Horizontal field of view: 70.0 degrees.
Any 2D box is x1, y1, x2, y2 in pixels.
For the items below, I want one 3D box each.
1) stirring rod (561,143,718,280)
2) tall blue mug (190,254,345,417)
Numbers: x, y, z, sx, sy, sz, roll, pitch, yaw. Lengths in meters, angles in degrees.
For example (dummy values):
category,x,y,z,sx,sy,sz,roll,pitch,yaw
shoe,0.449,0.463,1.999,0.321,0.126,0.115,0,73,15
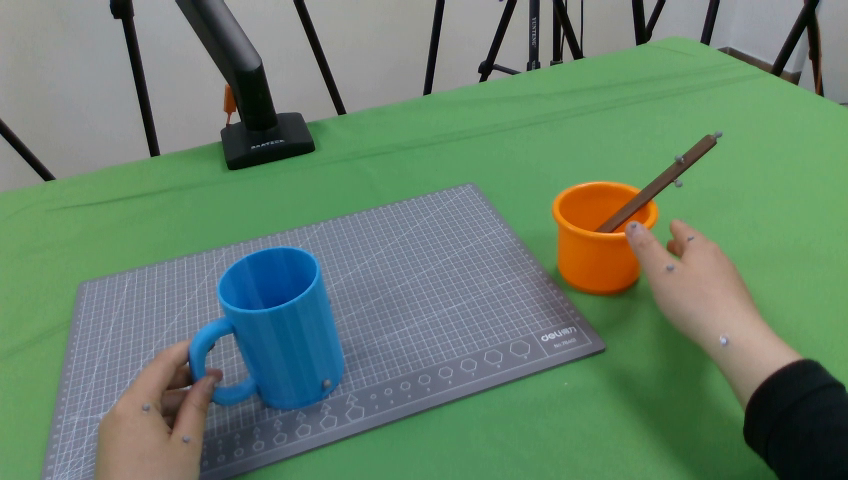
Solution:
category,x,y,z,sx,sy,sz,roll,pitch,yaw
stirring rod,0.192,-0.023,0.552,0.176,0.006,0.014,-45,35,20
tall blue mug,-0.115,0.085,0.470,0.077,0.109,0.106,10,39,20
